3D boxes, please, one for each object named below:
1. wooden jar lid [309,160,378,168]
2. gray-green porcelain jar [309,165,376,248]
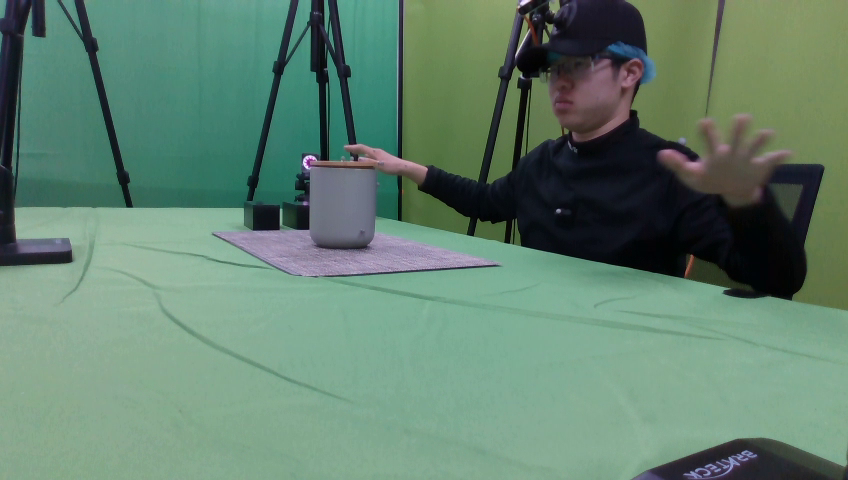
[{"bbox_3d":[-0.127,-0.117,0.957,0.108,0.020,0.108,1,7,0],"label":"wooden jar lid"},{"bbox_3d":[-0.130,-0.054,0.966,0.106,0.126,0.106,2,7,0],"label":"gray-green porcelain jar"}]
